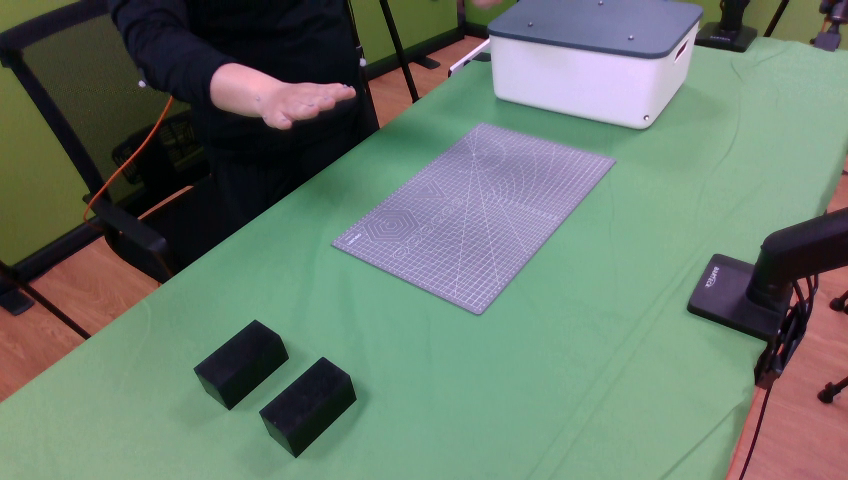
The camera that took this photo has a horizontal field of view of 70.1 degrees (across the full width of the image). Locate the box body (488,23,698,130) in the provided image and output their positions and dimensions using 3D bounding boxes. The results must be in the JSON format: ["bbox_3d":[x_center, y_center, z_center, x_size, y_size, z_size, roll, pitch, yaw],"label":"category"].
[{"bbox_3d":[0.345,-0.379,1.257,0.361,0.161,0.255,20,48,29],"label":"box body"}]

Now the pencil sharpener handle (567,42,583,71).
[{"bbox_3d":[0.319,-0.391,1.290,0.030,0.068,0.036,17,56,29],"label":"pencil sharpener handle"}]

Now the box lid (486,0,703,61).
[{"bbox_3d":[0.338,-0.435,1.208,0.369,0.015,0.264,20,47,29],"label":"box lid"}]

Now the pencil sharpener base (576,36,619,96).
[{"bbox_3d":[0.362,-0.367,1.272,0.076,0.107,0.061,17,47,29],"label":"pencil sharpener base"}]
